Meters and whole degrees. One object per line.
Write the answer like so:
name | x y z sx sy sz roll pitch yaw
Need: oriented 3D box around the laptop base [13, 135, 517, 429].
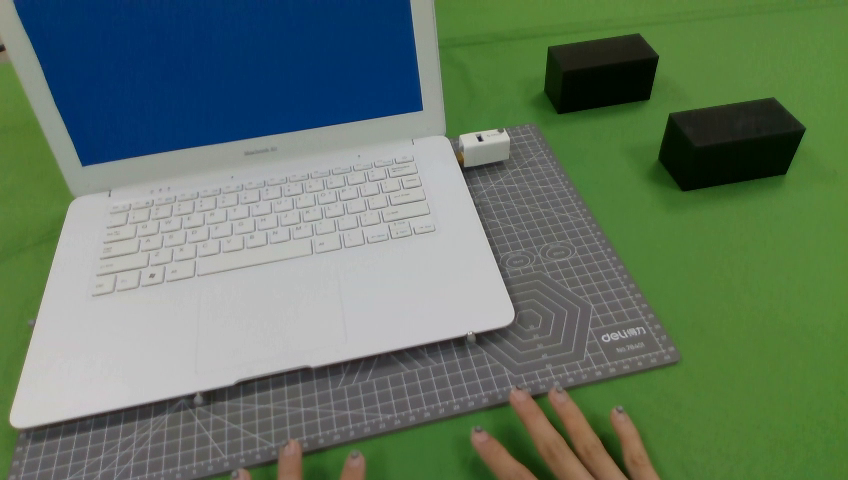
laptop base | -0.125 0.016 0.500 0.355 0.023 0.233 -11 49 -6

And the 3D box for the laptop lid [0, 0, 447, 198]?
laptop lid | -0.162 -0.166 0.519 0.357 0.244 0.013 -12 31 -5

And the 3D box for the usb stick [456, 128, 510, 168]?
usb stick | 0.050 -0.085 0.567 0.059 0.027 0.021 -12 47 -4
